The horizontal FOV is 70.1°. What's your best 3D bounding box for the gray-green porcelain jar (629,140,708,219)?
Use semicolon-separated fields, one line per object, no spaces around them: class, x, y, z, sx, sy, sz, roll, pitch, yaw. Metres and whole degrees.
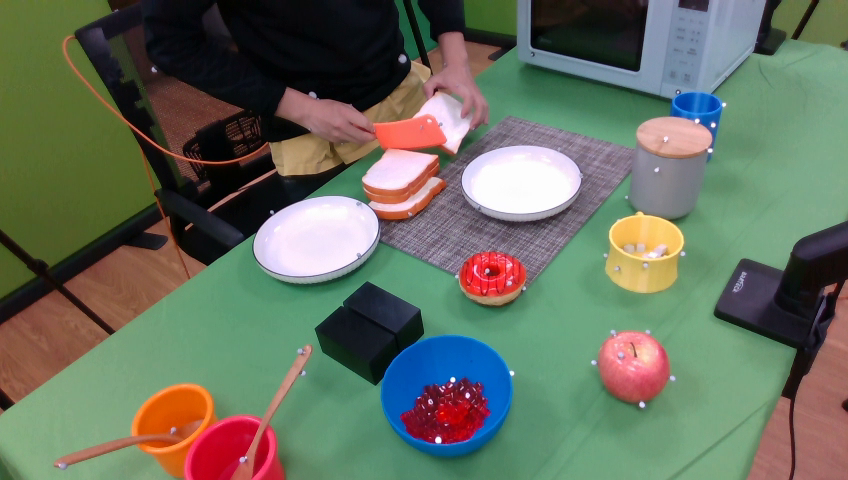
gray-green porcelain jar;0.383;-0.105;0.958;0.106;0.127;0.105;-4;41;4

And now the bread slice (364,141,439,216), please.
bread slice;-0.048;-0.106;1.038;0.106;0.018;0.134;18;75;22

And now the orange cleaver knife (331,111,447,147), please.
orange cleaver knife;-0.065;-0.197;1.104;0.210;0.077;0.012;0;48;16

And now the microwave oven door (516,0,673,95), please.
microwave oven door;0.344;-0.458;1.256;0.353;0.245;0.039;26;51;33

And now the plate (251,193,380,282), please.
plate;-0.173;-0.001;0.984;0.209;0.038;0.208;-4;40;4

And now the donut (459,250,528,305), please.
donut;0.100;0.053;0.872;0.099;0.048;0.098;-5;40;4

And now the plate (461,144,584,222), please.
plate;0.168;-0.095;1.040;0.207;0.039;0.206;-4;40;4

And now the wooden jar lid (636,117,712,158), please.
wooden jar lid;0.377;-0.151;0.917;0.108;0.021;0.108;-2;42;2

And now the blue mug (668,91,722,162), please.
blue mug;0.475;-0.207;1.079;0.082;0.106;0.116;4;42;13

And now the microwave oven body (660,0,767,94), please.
microwave oven body;0.473;-0.516;1.313;0.438;0.261;0.327;26;51;34

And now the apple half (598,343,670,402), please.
apple half;0.247;0.161;0.710;0.081;0.075;0.053;2;47;5

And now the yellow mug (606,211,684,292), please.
yellow mug;0.318;0.008;0.883;0.100;0.064;0.130;0;40;9

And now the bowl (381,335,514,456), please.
bowl;0.029;0.192;0.701;0.151;0.077;0.150;-4;40;4

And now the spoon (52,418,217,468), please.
spoon;-0.308;0.220;0.663;0.041;0.195;0.021;21;93;29

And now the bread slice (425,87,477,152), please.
bread slice;0.050;-0.233;1.148;0.105;0.019;0.131;28;51;-12

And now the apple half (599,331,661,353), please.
apple half;0.249;0.134;0.738;0.081;0.081;0.032;-1;45;7

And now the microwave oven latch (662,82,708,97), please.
microwave oven latch;0.517;-0.298;1.202;0.078;0.029;0.030;27;52;34

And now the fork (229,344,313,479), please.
fork;-0.173;0.205;0.662;0.028;0.019;0.207;29;94;36
